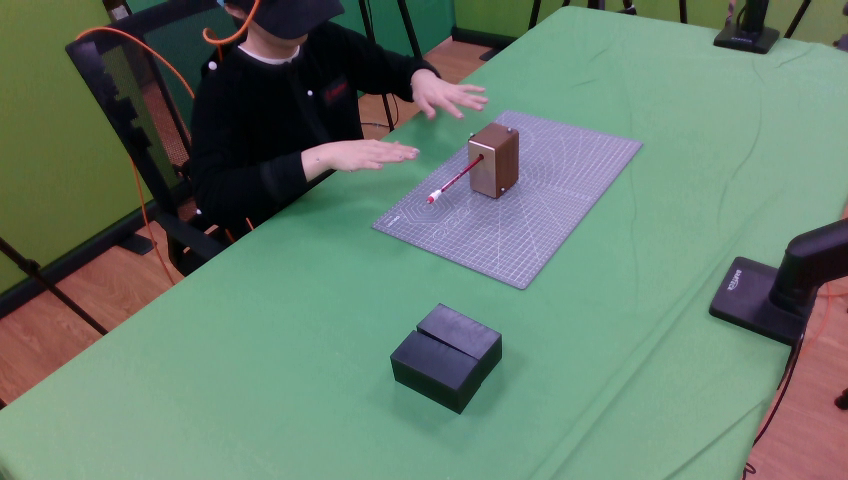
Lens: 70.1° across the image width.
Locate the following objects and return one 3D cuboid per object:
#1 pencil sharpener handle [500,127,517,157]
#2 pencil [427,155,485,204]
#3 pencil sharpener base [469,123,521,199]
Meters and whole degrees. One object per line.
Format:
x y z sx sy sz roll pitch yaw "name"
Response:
0.153 -0.178 1.072 0.036 0.068 0.031 37 55 17 "pencil sharpener handle"
0.070 -0.112 0.989 0.012 0.012 0.194 26 51 33 "pencil"
0.126 -0.138 1.050 0.061 0.107 0.077 24 50 33 "pencil sharpener base"
